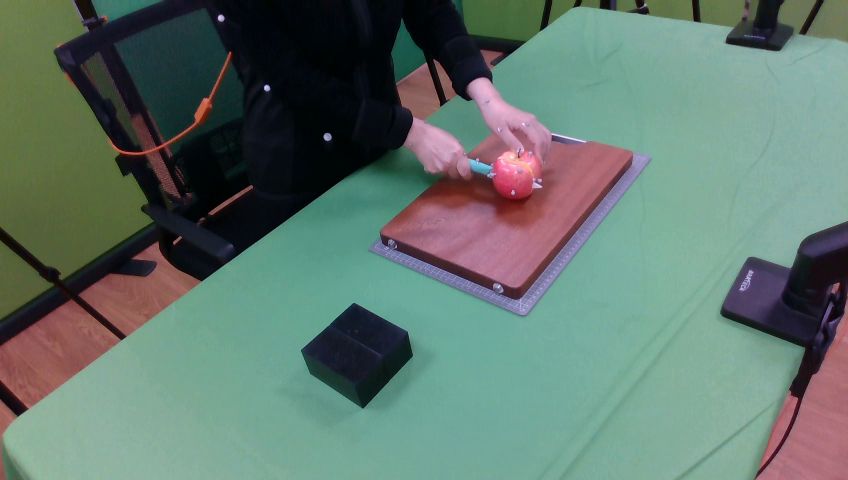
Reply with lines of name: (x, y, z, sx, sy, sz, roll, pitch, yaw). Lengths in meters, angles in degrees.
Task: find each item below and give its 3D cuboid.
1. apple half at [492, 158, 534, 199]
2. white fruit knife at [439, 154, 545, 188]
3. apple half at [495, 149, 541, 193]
apple half: (0.139, -0.092, 0.985, 0.080, 0.082, 0.033, 20, 52, 31)
white fruit knife: (0.110, -0.116, 1.017, 0.206, 0.027, 0.016, 19, 54, 31)
apple half: (0.161, -0.116, 1.008, 0.080, 0.075, 0.053, 17, 41, 32)
